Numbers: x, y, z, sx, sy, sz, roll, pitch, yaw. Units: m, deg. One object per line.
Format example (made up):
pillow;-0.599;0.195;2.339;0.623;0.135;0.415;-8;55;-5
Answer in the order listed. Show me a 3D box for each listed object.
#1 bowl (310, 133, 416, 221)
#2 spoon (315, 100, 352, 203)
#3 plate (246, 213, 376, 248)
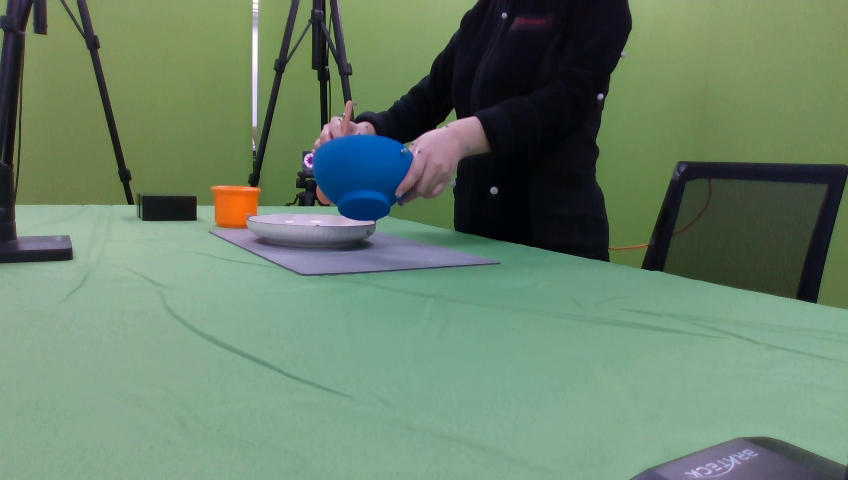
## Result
bowl;-0.085;-0.078;0.858;0.151;0.076;0.151;-2;-24;-1
spoon;-0.146;-0.151;1.016;0.041;0.193;0.022;3;-24;20
plate;-0.185;-0.017;0.994;0.209;0.038;0.209;3;8;0
